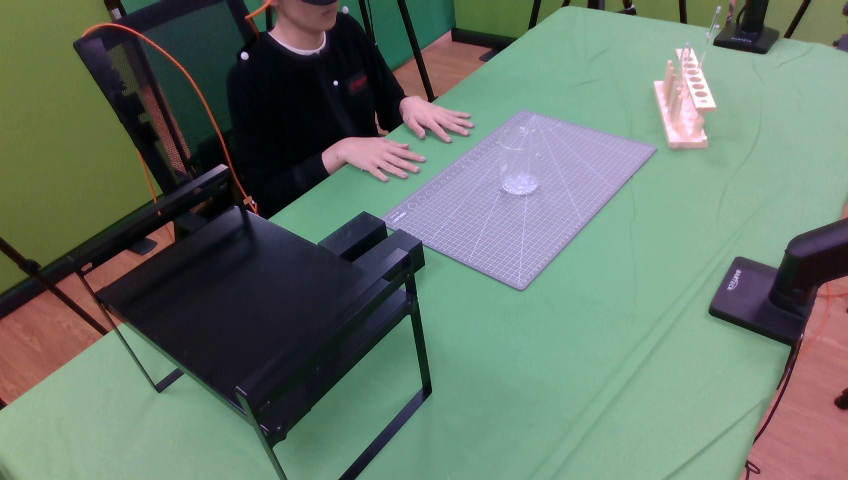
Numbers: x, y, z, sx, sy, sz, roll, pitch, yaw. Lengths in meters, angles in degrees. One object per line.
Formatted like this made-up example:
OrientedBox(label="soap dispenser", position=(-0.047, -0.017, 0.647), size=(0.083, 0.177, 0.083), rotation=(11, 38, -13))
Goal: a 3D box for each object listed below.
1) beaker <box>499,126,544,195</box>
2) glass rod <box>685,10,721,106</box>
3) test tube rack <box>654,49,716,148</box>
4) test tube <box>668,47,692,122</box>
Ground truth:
OrientedBox(label="beaker", position=(0.170, -0.136, 1.045), size=(0.073, 0.101, 0.084), rotation=(12, 44, 21))
OrientedBox(label="glass rod", position=(0.523, -0.336, 1.136), size=(0.008, 0.200, 0.008), rotation=(-1, 47, 1))
OrientedBox(label="test tube rack", position=(0.502, -0.281, 1.176), size=(0.066, 0.085, 0.241), rotation=(2, 41, 11))
OrientedBox(label="test tube", position=(0.472, -0.285, 1.117), size=(0.017, 0.151, 0.017), rotation=(-4, 44, 4))
